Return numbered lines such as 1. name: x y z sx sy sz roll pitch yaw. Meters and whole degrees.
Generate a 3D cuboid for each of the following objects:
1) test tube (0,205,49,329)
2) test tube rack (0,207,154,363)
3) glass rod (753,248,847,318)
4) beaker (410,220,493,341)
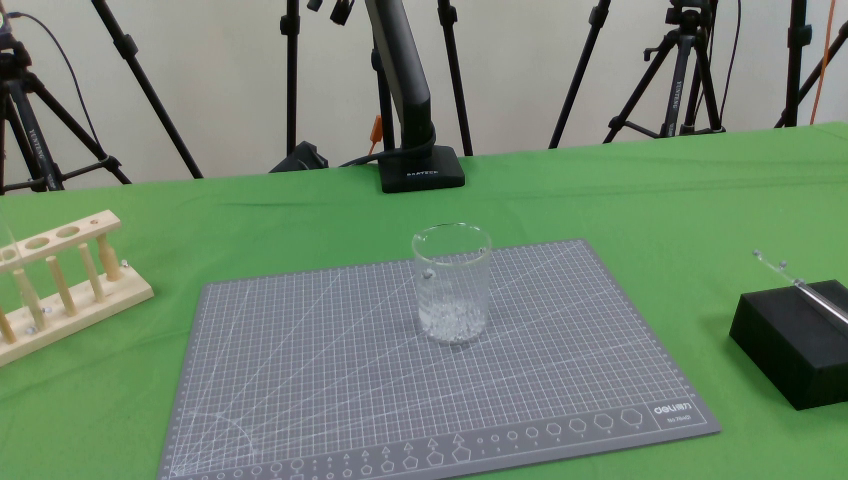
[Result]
1. test tube: -0.383 0.021 0.566 0.017 0.151 0.017 0 32 0
2. test tube rack: -0.407 0.059 0.594 0.242 0.086 0.066 -29 42 -35
3. glass rod: 0.367 0.059 0.533 0.008 0.008 0.197 -12 34 -15
4. beaker: 0.024 0.040 0.585 0.083 0.101 0.074 24 41 35
